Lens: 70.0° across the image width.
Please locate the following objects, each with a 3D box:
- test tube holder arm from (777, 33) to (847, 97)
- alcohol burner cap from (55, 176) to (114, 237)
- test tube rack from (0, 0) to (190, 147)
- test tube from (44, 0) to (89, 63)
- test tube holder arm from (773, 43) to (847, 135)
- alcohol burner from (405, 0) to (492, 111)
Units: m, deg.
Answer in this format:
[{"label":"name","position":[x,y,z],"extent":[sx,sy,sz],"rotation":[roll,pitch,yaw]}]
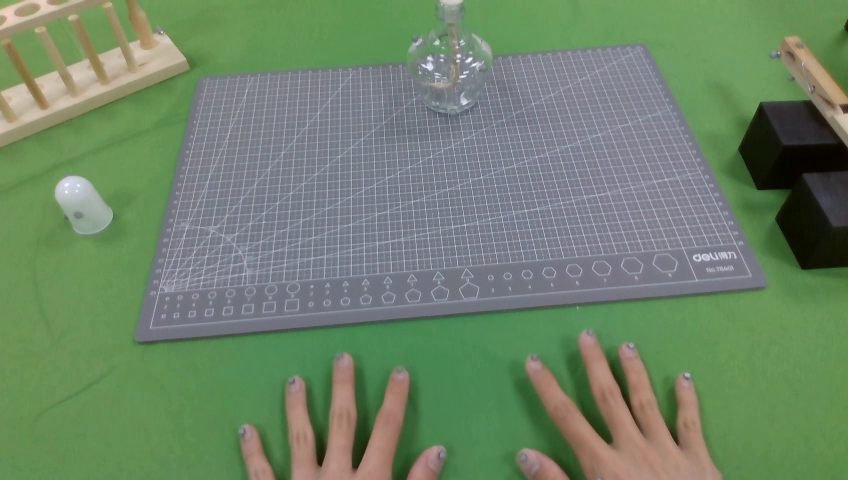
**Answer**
[{"label":"test tube holder arm","position":[0.313,-0.139,0.487],"extent":[0.015,0.010,0.087],"rotation":[-1,50,-7]},{"label":"alcohol burner cap","position":[-0.272,-0.029,0.480],"extent":[0.034,0.048,0.033],"rotation":[-1,52,1]},{"label":"test tube rack","position":[-0.356,-0.161,0.557],"extent":[0.242,0.086,0.066],"rotation":[-31,57,-20]},{"label":"test tube","position":[-0.336,-0.224,0.542],"extent":[0.017,0.151,0.017],"rotation":[-3,52,4]},{"label":"test tube holder arm","position":[0.316,-0.101,0.462],"extent":[0.015,0.013,0.176],"rotation":[-1,49,-7]},{"label":"alcohol burner","position":[0.021,-0.173,0.530],"extent":[0.078,0.120,0.077],"rotation":[0,53,1]}]
